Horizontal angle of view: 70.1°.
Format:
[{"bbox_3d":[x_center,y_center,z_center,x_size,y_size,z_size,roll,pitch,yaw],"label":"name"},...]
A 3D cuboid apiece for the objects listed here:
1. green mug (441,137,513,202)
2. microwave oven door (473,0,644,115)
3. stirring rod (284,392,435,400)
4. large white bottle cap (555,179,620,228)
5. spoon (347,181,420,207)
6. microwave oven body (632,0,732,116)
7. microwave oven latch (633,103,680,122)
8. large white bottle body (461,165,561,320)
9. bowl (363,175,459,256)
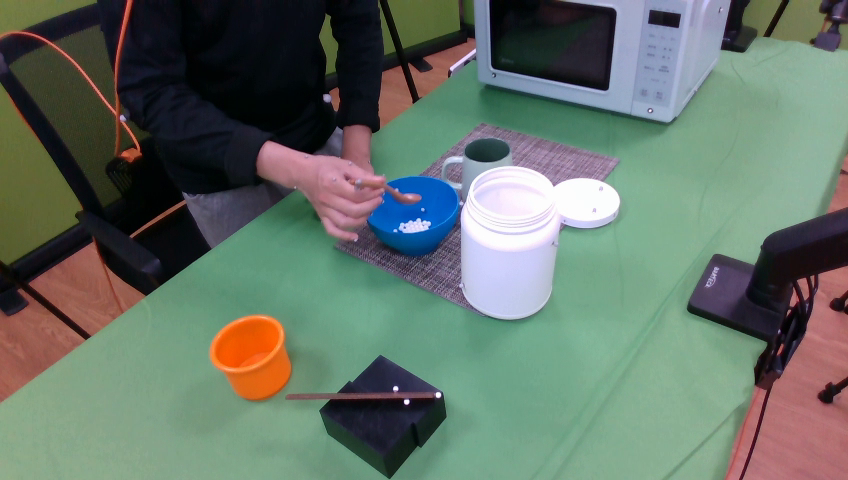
[{"bbox_3d":[0.091,-0.108,1.012,0.125,0.105,0.092,2,42,11],"label":"green mug"},{"bbox_3d":[0.257,-0.396,1.199,0.353,0.245,0.039,21,48,29],"label":"microwave oven door"},{"bbox_3d":[-0.075,0.180,0.698,0.176,0.006,0.014,-2,6,6],"label":"stirring rod"},{"bbox_3d":[0.265,-0.062,1.001,0.115,0.018,0.114,-3,41,3],"label":"large white bottle cap"},{"bbox_3d":[-0.056,-0.067,0.842,0.041,0.195,0.021,10,88,24],"label":"spoon"},{"bbox_3d":[0.377,-0.462,1.267,0.438,0.261,0.327,21,48,30],"label":"microwave oven body"},{"bbox_3d":[0.444,-0.249,1.157,0.078,0.029,0.030,21,49,30],"label":"microwave oven latch"},{"bbox_3d":[0.115,0.004,0.816,0.130,0.185,0.130,-2,43,2],"label":"large white bottle body"},{"bbox_3d":[-0.017,-0.028,0.955,0.151,0.077,0.150,-4,40,4],"label":"bowl"}]
